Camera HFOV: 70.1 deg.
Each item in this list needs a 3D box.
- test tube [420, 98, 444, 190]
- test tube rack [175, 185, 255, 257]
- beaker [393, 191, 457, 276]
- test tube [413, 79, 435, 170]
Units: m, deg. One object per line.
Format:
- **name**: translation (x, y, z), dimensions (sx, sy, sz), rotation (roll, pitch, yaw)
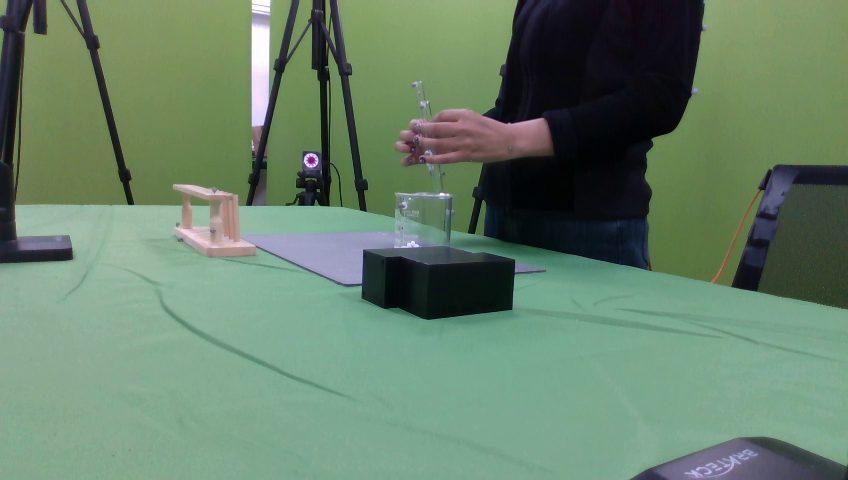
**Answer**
- **test tube**: translation (0.013, -0.151, 0.964), dimensions (0.017, 0.150, 0.017), rotation (-9, 22, 4)
- **test tube rack**: translation (-0.324, -0.035, 0.922), dimensions (0.067, 0.085, 0.241), rotation (-2, 9, -31)
- **beaker**: translation (-0.003, -0.010, 0.749), dimensions (0.074, 0.100, 0.083), rotation (-3, 8, -40)
- **test tube**: translation (0.001, -0.192, 1.009), dimensions (0.017, 0.150, 0.017), rotation (-9, 15, 3)
